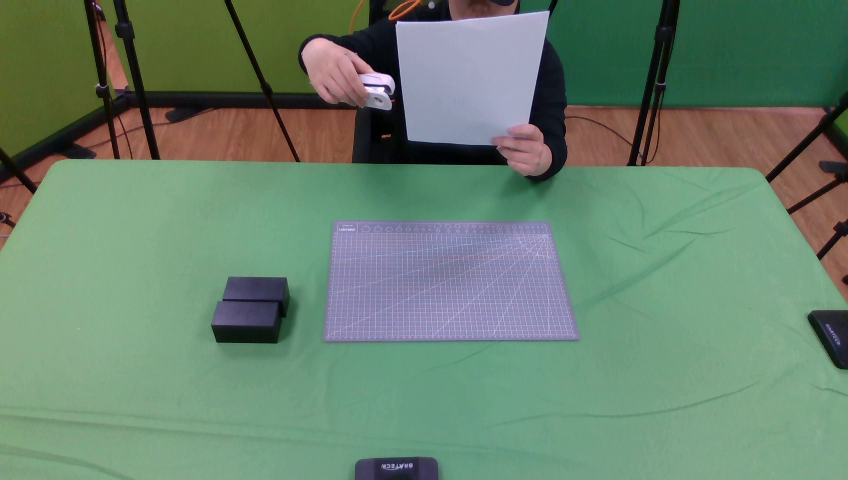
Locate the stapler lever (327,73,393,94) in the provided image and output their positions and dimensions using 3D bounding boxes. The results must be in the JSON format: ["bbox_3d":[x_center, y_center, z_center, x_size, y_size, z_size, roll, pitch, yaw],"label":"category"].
[{"bbox_3d":[-0.107,-0.269,1.031,0.117,0.027,0.040,19,70,25],"label":"stapler lever"}]

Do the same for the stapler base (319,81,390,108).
[{"bbox_3d":[-0.114,-0.251,1.025,0.130,0.041,0.024,13,68,23],"label":"stapler base"}]
